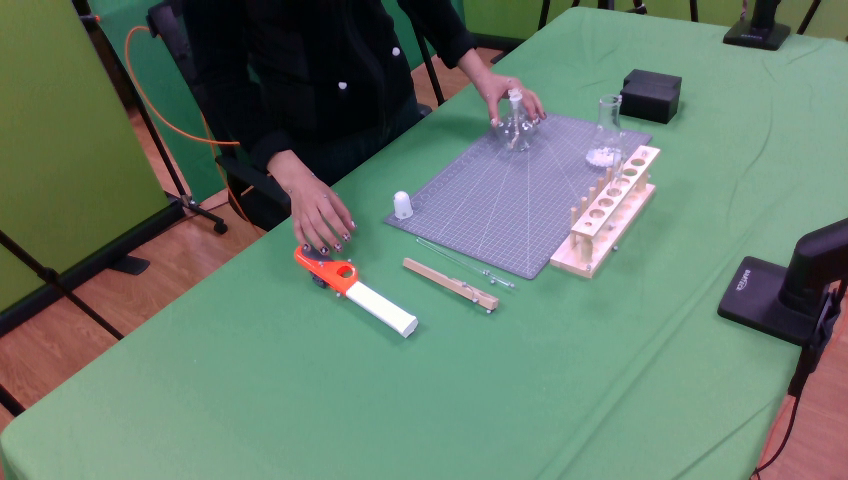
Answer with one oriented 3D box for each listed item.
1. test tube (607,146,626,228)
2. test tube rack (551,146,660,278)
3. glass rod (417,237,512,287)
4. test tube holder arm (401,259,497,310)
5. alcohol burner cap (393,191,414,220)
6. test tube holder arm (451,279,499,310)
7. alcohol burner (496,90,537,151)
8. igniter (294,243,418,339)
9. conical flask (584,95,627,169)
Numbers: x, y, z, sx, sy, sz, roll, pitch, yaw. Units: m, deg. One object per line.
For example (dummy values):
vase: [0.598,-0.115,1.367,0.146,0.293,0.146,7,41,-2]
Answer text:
test tube: [0.283,-0.074,0.892,0.017,0.151,0.017,-5,44,6]
test tube rack: [0.286,-0.053,0.943,0.066,0.085,0.243,21,49,32]
glass rod: [0.059,0.032,0.945,0.198,0.008,0.008,26,52,38]
test tube holder arm: [0.033,0.064,0.903,0.177,0.015,0.013,23,15,33]
alcohol burner cap: [-0.037,-0.062,1.045,0.034,0.048,0.033,-5,40,5]
test tube holder arm: [0.071,0.078,0.882,0.087,0.015,0.010,23,15,34]
alcohol burner: [0.175,-0.231,1.148,0.078,0.119,0.077,-4,40,4]
igniter: [-0.114,0.070,0.919,0.274,0.025,0.057,29,63,37]
conical flask: [0.324,-0.192,1.066,0.075,0.122,0.075,-6,40,5]
